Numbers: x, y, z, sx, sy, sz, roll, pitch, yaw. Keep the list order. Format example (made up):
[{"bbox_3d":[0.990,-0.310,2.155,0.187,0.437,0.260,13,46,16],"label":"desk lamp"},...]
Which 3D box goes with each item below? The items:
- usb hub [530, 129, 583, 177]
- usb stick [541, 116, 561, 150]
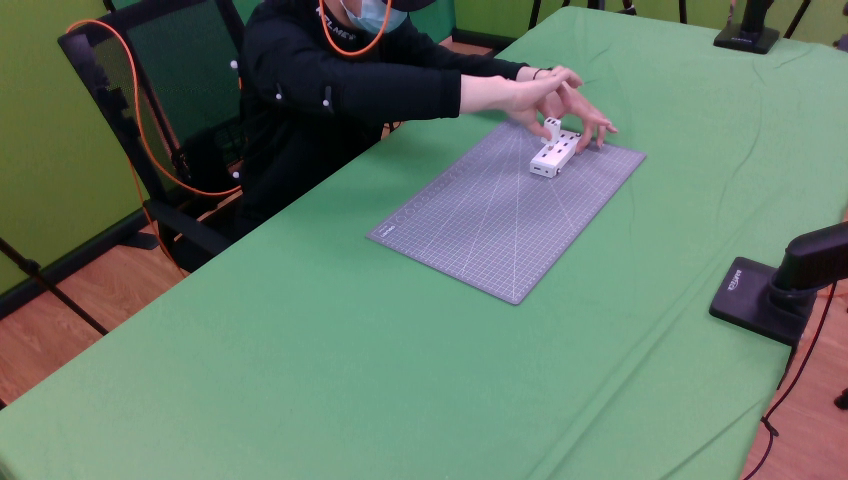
[{"bbox_3d":[0.245,-0.161,1.115,0.049,0.025,0.125,22,49,29],"label":"usb hub"},{"bbox_3d":[0.229,-0.192,1.092,0.027,0.059,0.021,30,54,28],"label":"usb stick"}]
